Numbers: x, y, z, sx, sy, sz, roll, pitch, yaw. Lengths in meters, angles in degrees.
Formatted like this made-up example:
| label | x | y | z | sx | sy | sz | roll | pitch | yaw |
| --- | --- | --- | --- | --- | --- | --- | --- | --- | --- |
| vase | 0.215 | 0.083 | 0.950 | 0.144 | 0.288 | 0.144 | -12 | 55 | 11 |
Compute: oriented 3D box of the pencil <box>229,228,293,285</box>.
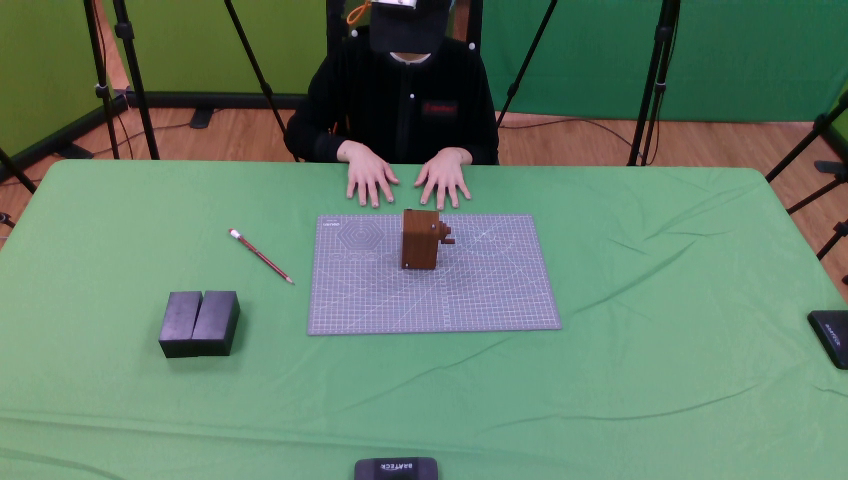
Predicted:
| label | x | y | z | sx | sy | sz | roll | pitch | yaw |
| --- | --- | --- | --- | --- | --- | --- | --- | --- | --- |
| pencil | -0.311 | 0.031 | 1.155 | 0.193 | 0.012 | 0.012 | 36 | 54 | 26 |

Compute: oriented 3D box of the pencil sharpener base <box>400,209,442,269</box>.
| label | x | y | z | sx | sy | sz | roll | pitch | yaw |
| --- | --- | --- | --- | --- | --- | --- | --- | --- | --- |
| pencil sharpener base | -0.006 | 0.000 | 1.134 | 0.077 | 0.107 | 0.061 | 2 | 46 | -2 |

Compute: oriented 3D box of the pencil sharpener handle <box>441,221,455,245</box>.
| label | x | y | z | sx | sy | sz | roll | pitch | yaw |
| --- | --- | --- | --- | --- | --- | --- | --- | --- | --- |
| pencil sharpener handle | 0.046 | -0.011 | 1.130 | 0.030 | 0.068 | 0.036 | 2 | 62 | -2 |
